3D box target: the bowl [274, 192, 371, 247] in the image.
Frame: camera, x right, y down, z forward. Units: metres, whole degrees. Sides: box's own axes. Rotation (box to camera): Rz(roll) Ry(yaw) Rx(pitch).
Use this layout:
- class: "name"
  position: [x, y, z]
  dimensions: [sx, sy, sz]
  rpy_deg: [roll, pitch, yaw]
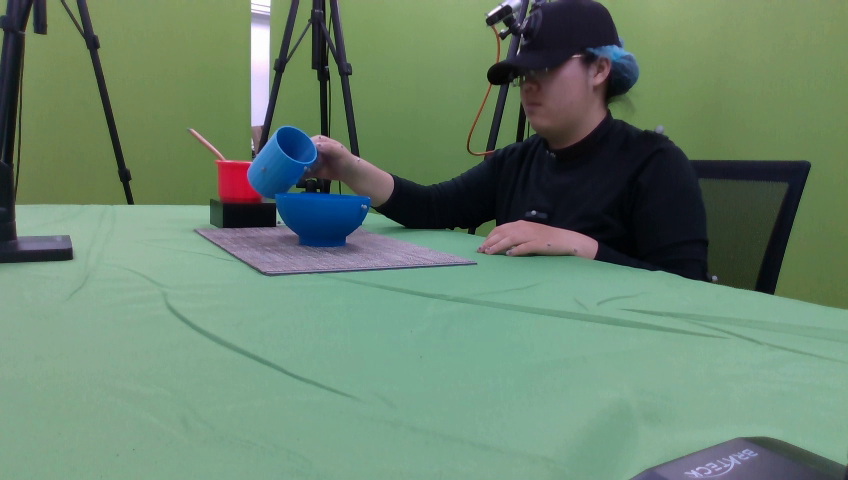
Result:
- class: "bowl"
  position: [-0.161, -0.032, 0.958]
  dimensions: [0.151, 0.077, 0.151]
  rpy_deg: [3, 7, 0]

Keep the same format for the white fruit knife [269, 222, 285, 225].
- class: "white fruit knife"
  position: [-0.222, -0.037, 1.261]
  dimensions: [0.208, 0.016, 0.027]
  rpy_deg: [-4, -17, -31]

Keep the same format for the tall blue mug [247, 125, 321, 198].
- class: "tall blue mug"
  position: [-0.236, -0.139, 1.033]
  dimensions: [0.107, 0.078, 0.107]
  rpy_deg: [-40, 17, 38]

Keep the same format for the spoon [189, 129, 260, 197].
- class: "spoon"
  position: [-0.389, -0.150, 1.174]
  dimensions: [0.193, 0.021, 0.042]
  rpy_deg: [49, 20, 7]
